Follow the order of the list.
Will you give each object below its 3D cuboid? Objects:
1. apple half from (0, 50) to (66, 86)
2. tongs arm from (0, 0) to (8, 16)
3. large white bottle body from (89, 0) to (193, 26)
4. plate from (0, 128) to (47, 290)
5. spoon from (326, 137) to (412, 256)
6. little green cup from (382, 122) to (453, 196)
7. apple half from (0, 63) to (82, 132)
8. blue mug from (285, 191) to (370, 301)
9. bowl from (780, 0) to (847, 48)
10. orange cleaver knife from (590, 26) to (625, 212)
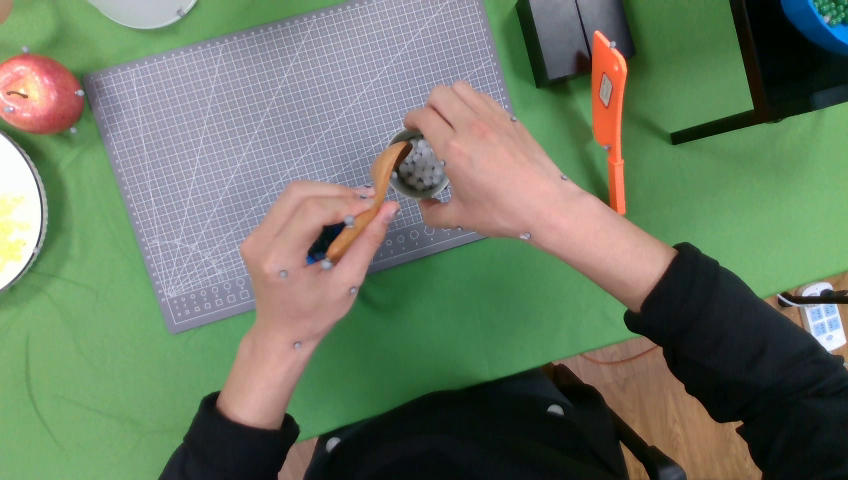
[{"bbox_3d":[-0.413,-0.174,0.622,0.081,0.081,0.033,-32,101,-3],"label":"apple half"},{"bbox_3d":[-0.611,-0.258,0.584,0.385,0.026,0.050,12,89,-4],"label":"tongs arm"},{"bbox_3d":[-0.298,-0.293,0.571,0.131,0.184,0.130,0,93,-5],"label":"large white bottle body"},{"bbox_3d":[-0.505,-0.036,0.641,0.209,0.038,0.209,0,94,-5],"label":"plate"},{"bbox_3d":[-0.035,-0.035,0.425,0.041,0.192,0.022,-40,107,23],"label":"spoon"},{"bbox_3d":[-0.004,-0.070,0.522,0.061,0.038,0.062,2,100,12],"label":"little green cup"},{"bbox_3d":[-0.393,-0.141,0.628,0.081,0.074,0.053,-32,100,-6],"label":"apple half"},{"bbox_3d":[-0.097,0.008,0.648,0.082,0.105,0.116,-9,94,-5],"label":"blue mug"},{"bbox_3d":[0.360,-0.230,0.514,0.151,0.076,0.151,0,94,-5],"label":"bowl"},{"bbox_3d":[0.205,-0.130,0.680,0.012,0.076,0.213,-18,126,-5],"label":"orange cleaver knife"}]
